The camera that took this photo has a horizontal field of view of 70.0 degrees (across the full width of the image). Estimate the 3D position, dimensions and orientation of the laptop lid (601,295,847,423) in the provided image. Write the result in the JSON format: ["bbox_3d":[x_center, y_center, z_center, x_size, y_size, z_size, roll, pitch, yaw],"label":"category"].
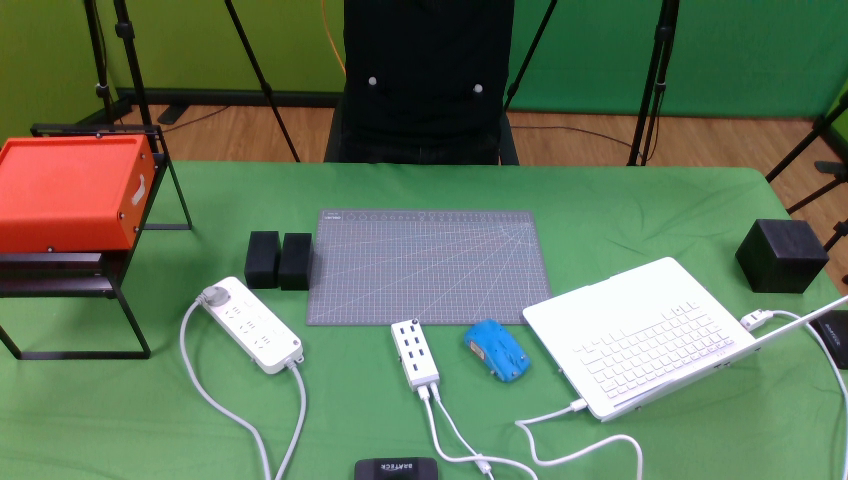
[{"bbox_3d":[0.449,0.180,0.905,0.357,0.242,0.013,-17,64,-20],"label":"laptop lid"}]

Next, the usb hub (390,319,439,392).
[{"bbox_3d":[-0.016,0.190,1.013,0.049,0.025,0.124,-11,48,-15],"label":"usb hub"}]

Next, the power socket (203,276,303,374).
[{"bbox_3d":[-0.296,0.141,1.034,0.072,0.033,0.225,-35,58,-31],"label":"power socket"}]

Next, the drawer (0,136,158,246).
[{"bbox_3d":[-0.545,-0.076,0.941,0.212,0.073,0.193,-2,47,-6],"label":"drawer"}]

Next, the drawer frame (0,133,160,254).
[{"bbox_3d":[-0.547,-0.075,0.939,0.214,0.083,0.200,-3,47,-6],"label":"drawer frame"}]

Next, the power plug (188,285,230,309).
[{"bbox_3d":[-0.370,0.103,1.039,0.072,0.053,0.035,-26,53,-23],"label":"power plug"}]

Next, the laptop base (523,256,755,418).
[{"bbox_3d":[0.381,0.159,1.077,0.355,0.023,0.234,-17,47,-19],"label":"laptop base"}]

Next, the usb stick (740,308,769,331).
[{"bbox_3d":[0.587,0.145,1.088,0.059,0.027,0.021,-21,48,-17],"label":"usb stick"}]

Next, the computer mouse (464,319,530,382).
[{"bbox_3d":[0.124,0.182,1.023,0.063,0.041,0.116,-28,58,-29],"label":"computer mouse"}]
